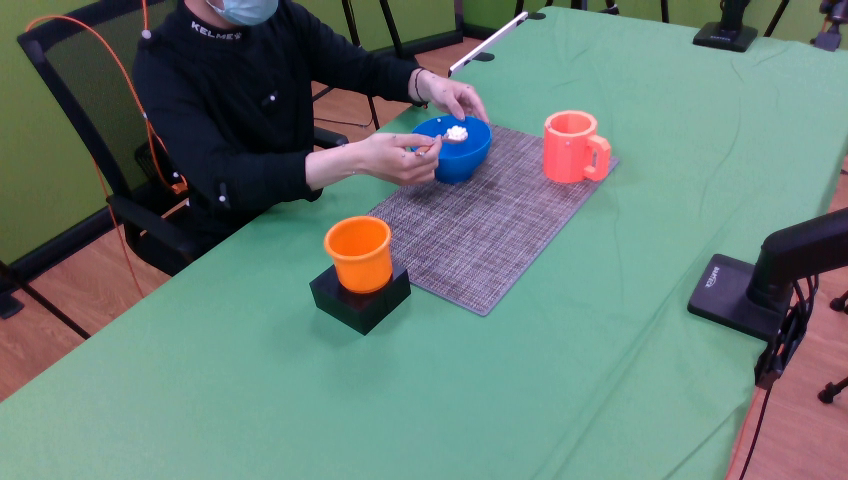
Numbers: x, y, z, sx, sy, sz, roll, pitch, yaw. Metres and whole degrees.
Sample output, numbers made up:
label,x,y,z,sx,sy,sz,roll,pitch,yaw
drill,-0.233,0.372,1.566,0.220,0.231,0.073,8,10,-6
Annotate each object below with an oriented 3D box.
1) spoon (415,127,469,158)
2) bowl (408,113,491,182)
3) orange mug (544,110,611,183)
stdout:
label,x,y,z,sx,sy,sz,roll,pitch,yaw
spoon,0.027,-0.164,1.009,0.041,0.021,0.194,-1,17,27
bowl,0.049,-0.158,1.097,0.151,0.077,0.150,-4,41,4
orange mug,0.266,-0.157,1.049,0.084,0.101,0.125,-33,42,-26
